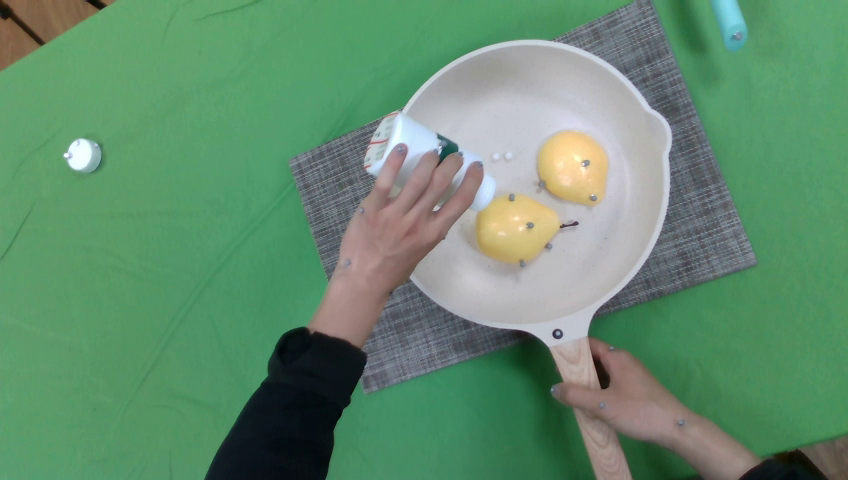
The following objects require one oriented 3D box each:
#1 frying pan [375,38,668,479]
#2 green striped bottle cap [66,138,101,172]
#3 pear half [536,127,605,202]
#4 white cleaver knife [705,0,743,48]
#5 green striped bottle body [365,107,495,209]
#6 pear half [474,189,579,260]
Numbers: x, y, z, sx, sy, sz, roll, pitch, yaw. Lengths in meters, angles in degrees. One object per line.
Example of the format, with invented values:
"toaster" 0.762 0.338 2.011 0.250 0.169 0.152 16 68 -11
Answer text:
"frying pan" 0.124 0.040 0.613 0.306 0.103 0.485 -19 76 15
"green striped bottle cap" -0.464 -0.116 0.825 0.044 0.020 0.044 0 89 16
"pear half" 0.156 -0.080 0.641 0.070 0.031 0.087 -37 77 17
"white cleaver knife" 0.259 -0.323 0.604 0.021 0.066 0.285 -19 82 20
"green striped bottle body" 0.010 -0.071 0.570 0.120 0.062 0.063 24 97 -26
"pear half" 0.108 -0.018 0.642 0.109 0.056 0.076 -7 93 14
